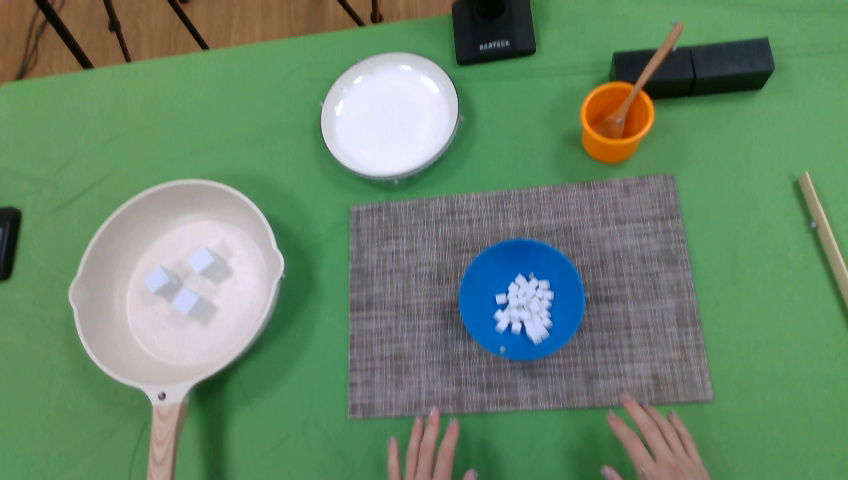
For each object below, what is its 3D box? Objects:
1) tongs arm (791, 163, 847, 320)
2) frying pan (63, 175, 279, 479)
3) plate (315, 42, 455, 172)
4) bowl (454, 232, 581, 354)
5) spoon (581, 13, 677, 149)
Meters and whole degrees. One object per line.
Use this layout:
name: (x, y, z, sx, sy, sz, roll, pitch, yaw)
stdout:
tongs arm: (0.518, 0.082, 0.720, 0.028, 0.028, 0.384, -13, 71, 3)
frying pan: (-0.331, 0.147, 0.791, 0.306, 0.103, 0.483, -7, 63, 8)
plate: (-0.055, -0.192, 0.890, 0.207, 0.039, 0.206, -3, 73, 9)
bowl: (0.116, 0.072, 0.755, 0.151, 0.077, 0.150, -2, 72, 8)
spoon: (0.266, -0.201, 0.784, 0.041, 0.194, 0.022, 45, 40, 22)
